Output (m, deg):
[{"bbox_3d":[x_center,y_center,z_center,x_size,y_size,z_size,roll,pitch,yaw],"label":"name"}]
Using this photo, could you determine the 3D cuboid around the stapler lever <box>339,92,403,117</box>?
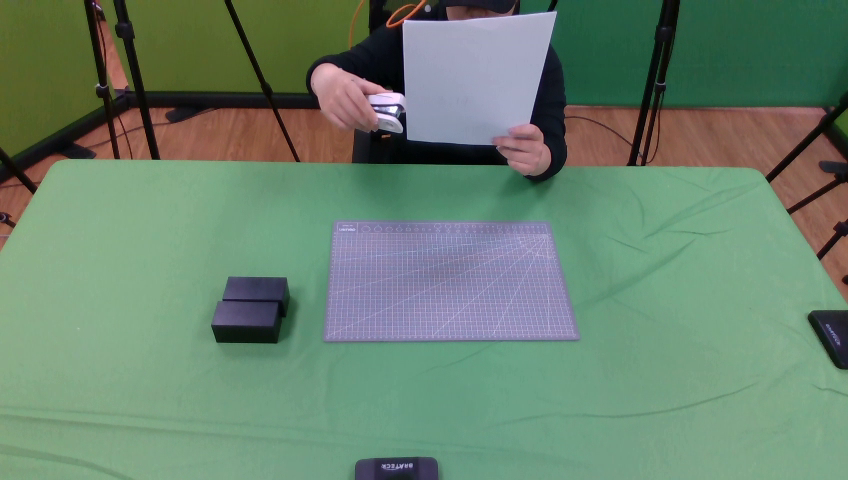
[{"bbox_3d":[-0.089,-0.236,1.035,0.117,0.027,0.040,16,83,29],"label":"stapler lever"}]

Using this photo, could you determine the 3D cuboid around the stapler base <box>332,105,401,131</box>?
[{"bbox_3d":[-0.095,-0.212,1.033,0.130,0.041,0.024,15,82,29],"label":"stapler base"}]
